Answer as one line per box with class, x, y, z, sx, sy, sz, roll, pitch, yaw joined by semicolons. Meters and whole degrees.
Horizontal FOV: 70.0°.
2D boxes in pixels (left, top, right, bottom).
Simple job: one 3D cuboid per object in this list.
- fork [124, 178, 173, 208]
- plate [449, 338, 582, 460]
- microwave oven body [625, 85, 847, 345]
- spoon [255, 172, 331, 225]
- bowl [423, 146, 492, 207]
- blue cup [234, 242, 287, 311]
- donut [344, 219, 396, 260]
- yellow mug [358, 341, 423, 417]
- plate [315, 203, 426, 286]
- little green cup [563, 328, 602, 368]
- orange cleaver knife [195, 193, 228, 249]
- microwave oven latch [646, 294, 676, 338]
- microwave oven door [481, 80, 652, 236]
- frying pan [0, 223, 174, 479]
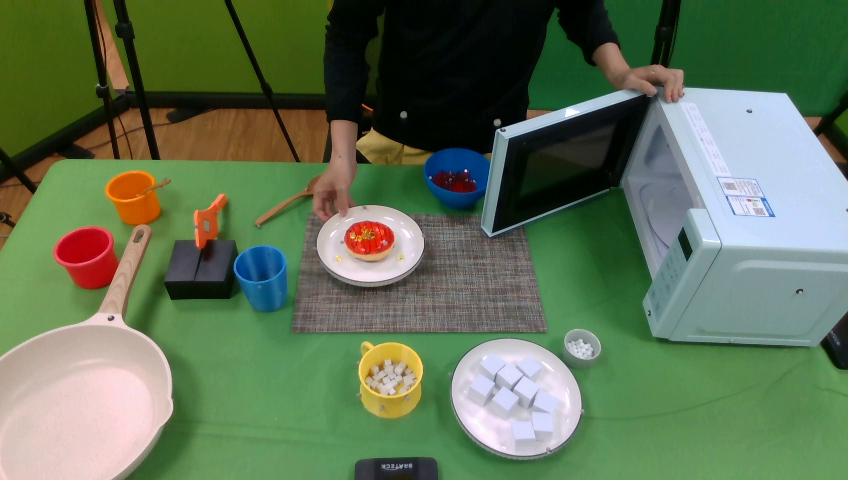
fork;-0.525;-0.090;1.154;0.207;0.019;0.028;-17;27;45
plate;0.141;0.251;0.955;0.208;0.039;0.206;2;47;-2
microwave oven body;0.568;-0.054;1.116;0.326;0.261;0.439;2;46;-1
spoon;-0.272;-0.087;1.257;0.041;0.022;0.193;46;57;12
bowl;0.073;-0.123;1.278;0.151;0.077;0.150;2;46;-2
blue cup;-0.276;0.071;1.052;0.093;0.101;0.092;1;48;-1
donut;-0.103;-0.003;1.157;0.099;0.048;0.098;3;43;-3
yellow mug;-0.062;0.210;0.961;0.100;0.064;0.130;-29;54;-27
plate;-0.101;0.012;1.159;0.209;0.038;0.208;2;46;-2
little green cup;0.266;0.185;1.025;0.061;0.039;0.061;2;45;-2
orange cleaver knife;-0.406;-0.041;1.163;0.012;0.077;0.210;0;18;-3
microwave oven latch;0.412;0.133;1.060;0.030;0.029;0.078;4;46;1
microwave oven door;0.281;-0.162;1.192;0.356;0.245;0.039;-22;51;-22
frying pan;-0.505;0.169;0.941;0.307;0.103;0.485;5;54;-1
